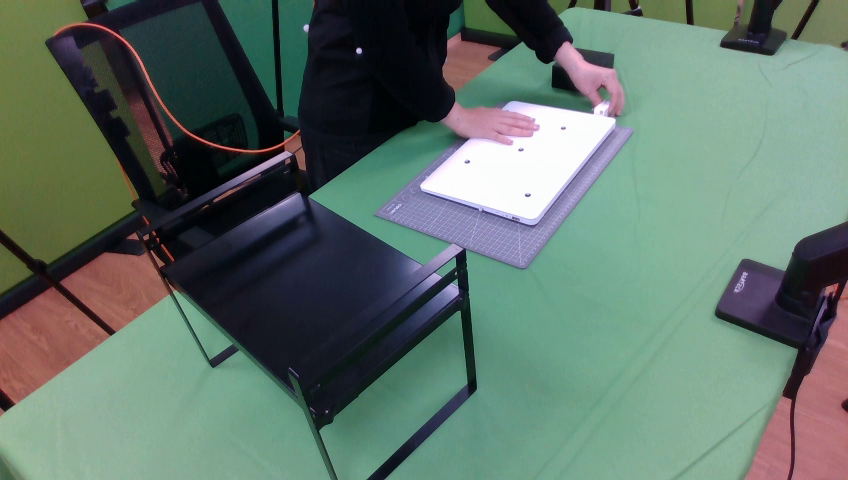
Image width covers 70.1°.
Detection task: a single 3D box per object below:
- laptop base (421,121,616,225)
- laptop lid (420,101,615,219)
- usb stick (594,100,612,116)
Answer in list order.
[{"bbox_3d":[0.184,-0.156,1.132,0.234,0.023,0.355,18,47,31],"label":"laptop base"},{"bbox_3d":[0.181,-0.166,1.126,0.240,0.013,0.357,20,47,31],"label":"laptop lid"},{"bbox_3d":[0.354,-0.256,1.205,0.021,0.027,0.059,21,48,28],"label":"usb stick"}]
